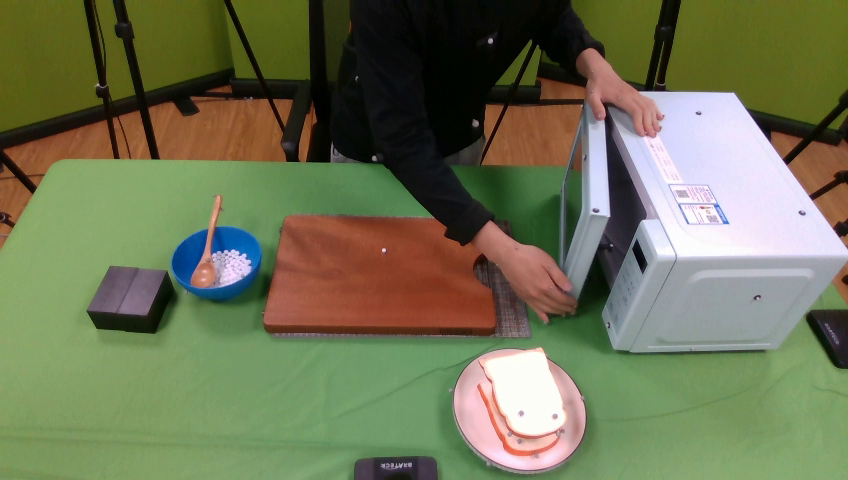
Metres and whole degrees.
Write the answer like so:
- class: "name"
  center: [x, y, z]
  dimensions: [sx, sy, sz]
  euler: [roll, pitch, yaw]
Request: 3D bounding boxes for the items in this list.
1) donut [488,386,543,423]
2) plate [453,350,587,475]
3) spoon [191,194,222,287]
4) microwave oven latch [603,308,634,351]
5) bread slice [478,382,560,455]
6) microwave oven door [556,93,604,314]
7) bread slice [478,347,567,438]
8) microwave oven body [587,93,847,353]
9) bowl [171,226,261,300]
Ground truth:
- class: "donut"
  center: [0.148, 0.242, 0.928]
  dimensions: [0.099, 0.048, 0.098]
  euler: [-3, 41, 2]
- class: "plate"
  center: [0.146, 0.267, 0.943]
  dimensions: [0.208, 0.039, 0.206]
  euler: [2, 46, -2]
- class: "spoon"
  center: [-0.383, 0.000, 1.088]
  dimensions: [0.041, 0.022, 0.193]
  euler: [0, 66, 5]
- class: "microwave oven latch"
  center: [0.332, 0.153, 1.044]
  dimensions: [0.030, 0.029, 0.078]
  euler: [0, 45, -3]
- class: "bread slice"
  center: [0.154, 0.268, 0.944]
  dimensions: [0.105, 0.019, 0.130]
  euler: [-10, 47, -12]
- class: "microwave oven door"
  center: [0.288, -0.077, 1.123]
  dimensions: [0.039, 0.245, 0.354]
  euler: [9, 46, 5]
- class: "bread slice"
  center: [0.152, 0.227, 0.901]
  dimensions: [0.107, 0.018, 0.133]
  euler: [-11, 54, -16]
- class: "microwave oven body"
  center: [0.475, -0.041, 1.109]
  dimensions: [0.326, 0.261, 0.438]
  euler: [-1, 45, -4]
- class: "bowl"
  center: [-0.364, 0.054, 1.080]
  dimensions: [0.151, 0.077, 0.150]
  euler: [3, 45, -3]
